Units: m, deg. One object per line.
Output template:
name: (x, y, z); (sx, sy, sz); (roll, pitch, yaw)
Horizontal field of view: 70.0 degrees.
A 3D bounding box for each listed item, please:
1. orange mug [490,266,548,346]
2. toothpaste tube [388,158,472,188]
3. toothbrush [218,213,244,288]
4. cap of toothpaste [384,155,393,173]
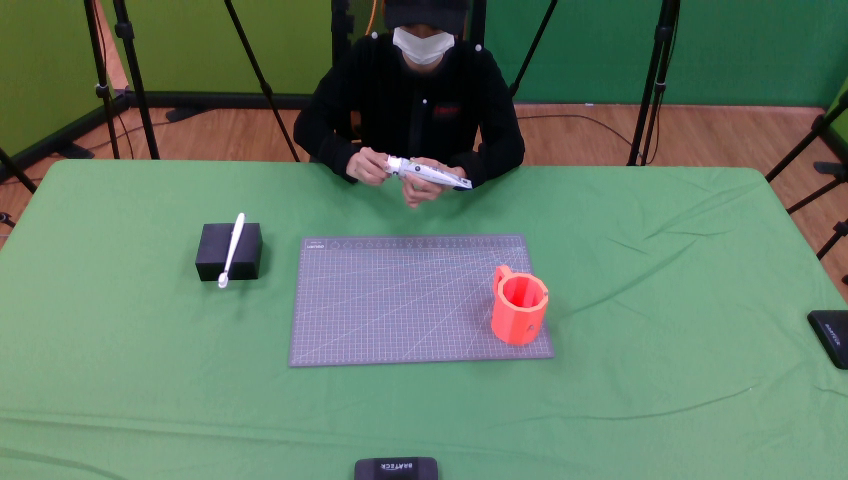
orange mug: (0.155, 0.107, 1.051); (0.083, 0.101, 0.125); (-15, 53, -18)
toothpaste tube: (0.010, -0.125, 1.151); (0.165, 0.034, 0.055); (12, 25, -5)
toothbrush: (-0.347, 0.013, 1.093); (0.014, 0.017, 0.180); (-1, 46, 0)
cap of toothpaste: (-0.067, -0.143, 1.146); (0.011, 0.037, 0.037); (11, 46, -5)
